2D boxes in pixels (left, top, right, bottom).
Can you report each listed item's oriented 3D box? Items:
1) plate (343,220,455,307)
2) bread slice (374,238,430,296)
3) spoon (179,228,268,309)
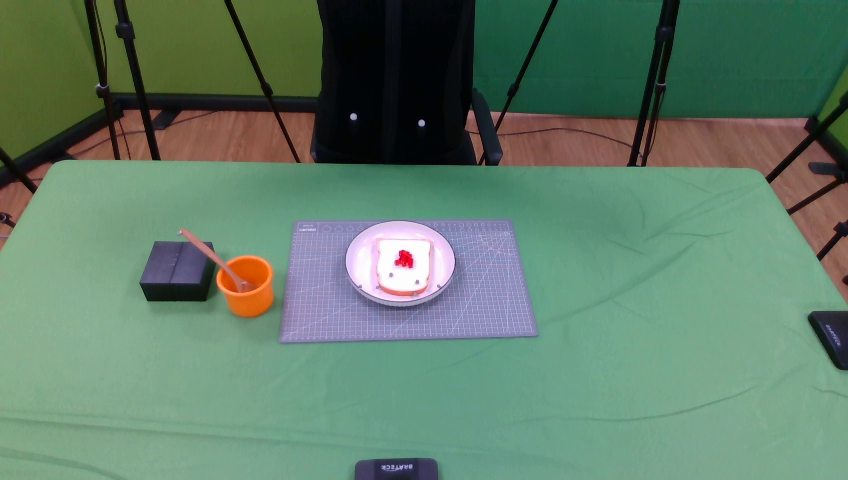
[{"bbox_3d":[-0.047,0.046,1.135,0.209,0.038,0.208,2,46,-2],"label":"plate"},{"bbox_3d":[-0.039,0.048,1.135,0.107,0.018,0.133,-1,47,-4],"label":"bread slice"},{"bbox_3d":[-0.342,0.048,1.037,0.021,0.194,0.041,-19,28,44],"label":"spoon"}]
